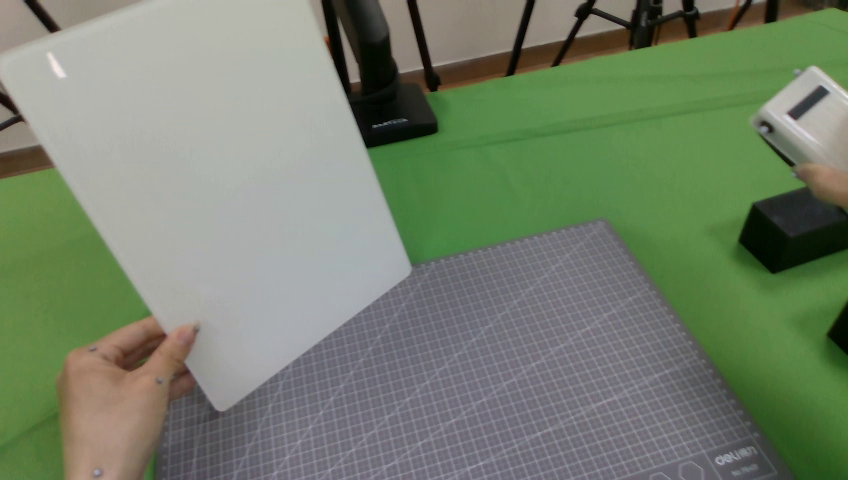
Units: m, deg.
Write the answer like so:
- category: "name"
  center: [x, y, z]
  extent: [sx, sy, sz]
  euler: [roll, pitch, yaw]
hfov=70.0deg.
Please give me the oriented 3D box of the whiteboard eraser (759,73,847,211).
- category: "whiteboard eraser"
  center: [0.298, -0.061, 0.425]
  extent: [0.055, 0.042, 0.112]
  euler: [-41, 72, 5]

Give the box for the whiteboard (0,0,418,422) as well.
- category: "whiteboard"
  center: [-0.172, -0.046, 0.528]
  extent: [0.217, 0.308, 0.142]
  euler: [-35, 30, -26]
